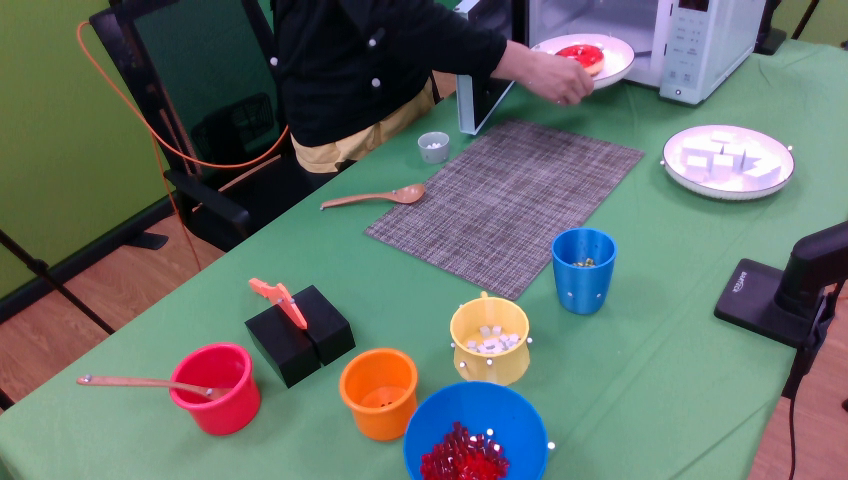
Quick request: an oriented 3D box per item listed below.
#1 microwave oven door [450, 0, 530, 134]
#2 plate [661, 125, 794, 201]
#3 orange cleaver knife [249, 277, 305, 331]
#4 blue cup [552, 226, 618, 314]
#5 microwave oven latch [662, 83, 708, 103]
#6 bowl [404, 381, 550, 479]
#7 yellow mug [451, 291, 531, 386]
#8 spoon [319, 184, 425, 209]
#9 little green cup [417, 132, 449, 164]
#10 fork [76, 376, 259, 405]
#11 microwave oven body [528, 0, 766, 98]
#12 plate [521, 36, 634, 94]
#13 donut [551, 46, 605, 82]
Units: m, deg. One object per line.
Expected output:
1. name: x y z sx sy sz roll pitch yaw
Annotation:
1. microwave oven door: 0.146 -0.412 1.240 0.039 0.245 0.356 13 44 23
2. plate: 0.513 -0.128 1.035 0.207 0.039 0.206 -4 40 4
3. orange cleaver knife: -0.210 0.088 0.856 0.012 0.077 0.210 -28 15 -25
4. blue cup: 0.218 0.047 0.825 0.092 0.101 0.092 -6 40 5
5. microwave oven latch: 0.519 -0.297 1.204 0.030 0.029 0.078 -37 47 -29
6. bowl: 0.058 0.235 0.645 0.151 0.077 0.150 -4 39 4
7. yellow mug: 0.085 0.120 0.786 0.100 0.064 0.130 -7 39 1
8. spoon: -0.094 -0.076 1.074 0.193 0.022 0.041 -5 56 5
9. little green cup: 0.019 -0.177 1.168 0.061 0.039 0.061 -2 41 3
10. fork: -0.295 0.176 0.716 0.209 0.018 0.028 20 26 -36
11. microwave oven body: 0.472 -0.513 1.317 0.438 0.261 0.327 26 51 34
12. plate: 0.291 -0.329 1.153 0.209 0.038 0.208 -6 40 6
13. donut: 0.290 -0.334 1.141 0.099 0.048 0.098 -7 38 6
